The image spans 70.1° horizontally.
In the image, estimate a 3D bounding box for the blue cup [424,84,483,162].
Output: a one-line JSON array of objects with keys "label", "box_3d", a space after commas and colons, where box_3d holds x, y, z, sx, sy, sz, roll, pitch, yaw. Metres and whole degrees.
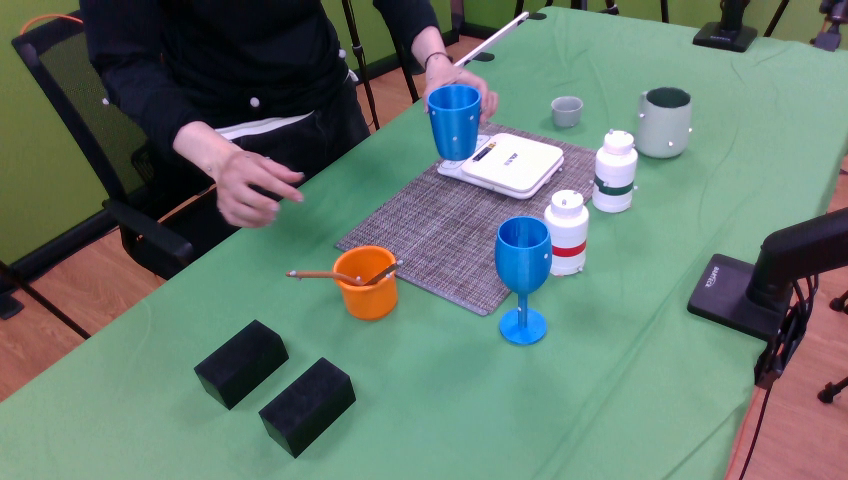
[{"label": "blue cup", "box_3d": [0.047, -0.181, 0.959, 0.092, 0.100, 0.092, -3, 41, 3]}]

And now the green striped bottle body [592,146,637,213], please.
[{"label": "green striped bottle body", "box_3d": [0.307, -0.108, 0.976, 0.063, 0.120, 0.063, -4, 41, 4]}]

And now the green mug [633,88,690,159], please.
[{"label": "green mug", "box_3d": [0.423, -0.217, 1.099, 0.093, 0.105, 0.124, -16, 41, -9]}]

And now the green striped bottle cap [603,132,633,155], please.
[{"label": "green striped bottle cap", "box_3d": [0.301, -0.149, 0.938, 0.044, 0.020, 0.044, -3, 39, 3]}]

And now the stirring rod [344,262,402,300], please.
[{"label": "stirring rod", "box_3d": [-0.072, 0.057, 0.813, 0.014, 0.175, 0.006, -16, 79, -33]}]

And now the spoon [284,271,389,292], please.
[{"label": "spoon", "box_3d": [-0.117, 0.054, 0.824, 0.041, 0.195, 0.021, 4, 81, 37]}]

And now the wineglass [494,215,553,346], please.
[{"label": "wineglass", "box_3d": [0.127, 0.055, 0.770, 0.074, 0.173, 0.073, -4, 40, 4]}]

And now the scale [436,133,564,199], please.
[{"label": "scale", "box_3d": [0.137, -0.142, 1.101, 0.199, 0.032, 0.149, 22, 48, 30]}]

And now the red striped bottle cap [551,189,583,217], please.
[{"label": "red striped bottle cap", "box_3d": [0.200, -0.052, 0.843, 0.044, 0.018, 0.044, -2, 42, 2]}]

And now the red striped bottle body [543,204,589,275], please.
[{"label": "red striped bottle body", "box_3d": [0.206, -0.011, 0.877, 0.063, 0.120, 0.062, -5, 41, 4]}]

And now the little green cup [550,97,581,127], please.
[{"label": "little green cup", "box_3d": [0.284, -0.255, 1.213, 0.061, 0.039, 0.061, -5, 41, 5]}]
